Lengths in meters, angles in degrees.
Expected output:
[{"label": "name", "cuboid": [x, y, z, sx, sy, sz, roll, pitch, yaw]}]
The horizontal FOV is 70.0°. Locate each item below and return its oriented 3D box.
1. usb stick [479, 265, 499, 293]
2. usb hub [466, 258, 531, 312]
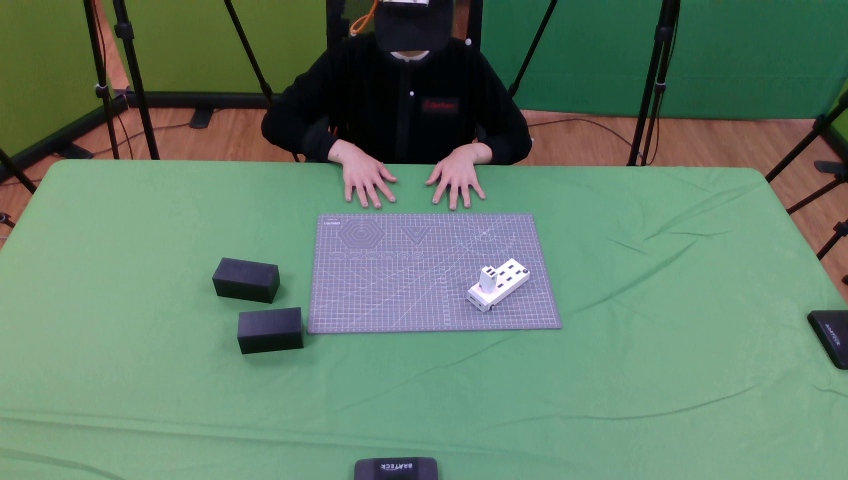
[{"label": "usb stick", "cuboid": [0.115, 0.074, 1.084, 0.021, 0.059, 0.027, -34, 60, -31]}, {"label": "usb hub", "cuboid": [0.139, 0.083, 1.120, 0.125, 0.025, 0.049, -32, 56, -30]}]
